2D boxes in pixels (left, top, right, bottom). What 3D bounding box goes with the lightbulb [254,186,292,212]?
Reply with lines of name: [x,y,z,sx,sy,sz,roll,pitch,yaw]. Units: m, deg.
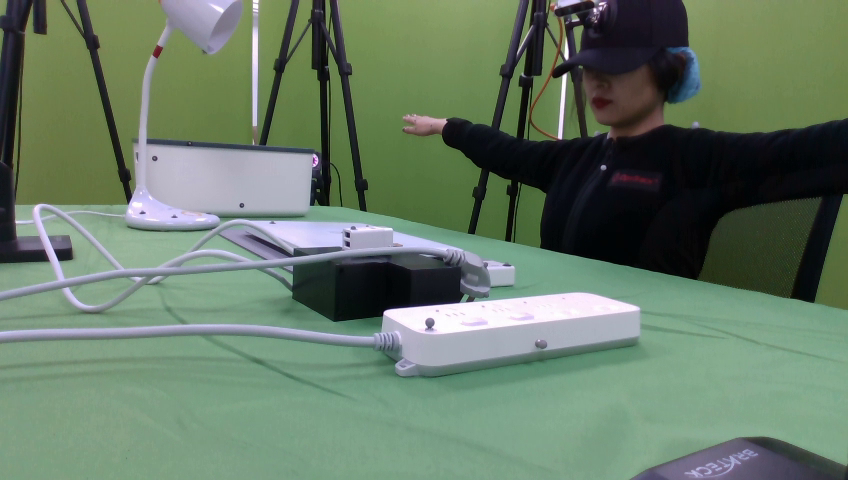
lightbulb: [-0.370,-0.094,1.492,0.059,0.059,0.108,8,-11,40]

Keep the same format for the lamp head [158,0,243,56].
lamp head: [-0.399,-0.397,1.057,0.123,0.112,0.112,27,5,-7]

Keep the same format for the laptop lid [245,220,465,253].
laptop lid: [-0.124,-0.009,0.945,0.243,0.013,0.355,1,7,-29]

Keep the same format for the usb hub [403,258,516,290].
usb hub: [0.042,0.038,0.690,0.126,0.025,0.049,-2,9,-30]

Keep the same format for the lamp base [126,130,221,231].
lamp base: [-0.469,-0.112,1.108,0.179,0.180,0.160,0,7,3]

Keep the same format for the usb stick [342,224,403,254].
usb stick: [-0.047,-0.001,0.567,0.059,0.027,0.021,0,5,-32]

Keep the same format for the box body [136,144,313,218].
box body: [-0.467,-0.141,1.417,0.366,0.160,0.253,-2,8,-31]

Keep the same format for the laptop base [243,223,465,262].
laptop base: [-0.126,0.003,0.946,0.237,0.023,0.352,2,6,-31]

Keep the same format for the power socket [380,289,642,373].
power socket: [0.072,0.064,0.461,0.228,0.032,0.072,-2,8,-30]

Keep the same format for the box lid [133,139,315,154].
box lid: [-0.466,-0.215,1.407,0.373,0.015,0.262,-1,8,-31]

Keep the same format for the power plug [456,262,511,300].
power plug: [0.052,0.051,0.543,0.035,0.052,0.072,6,38,-20]

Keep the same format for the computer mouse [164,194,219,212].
computer mouse: [-0.532,-0.084,1.387,0.118,0.041,0.062,2,3,-31]
